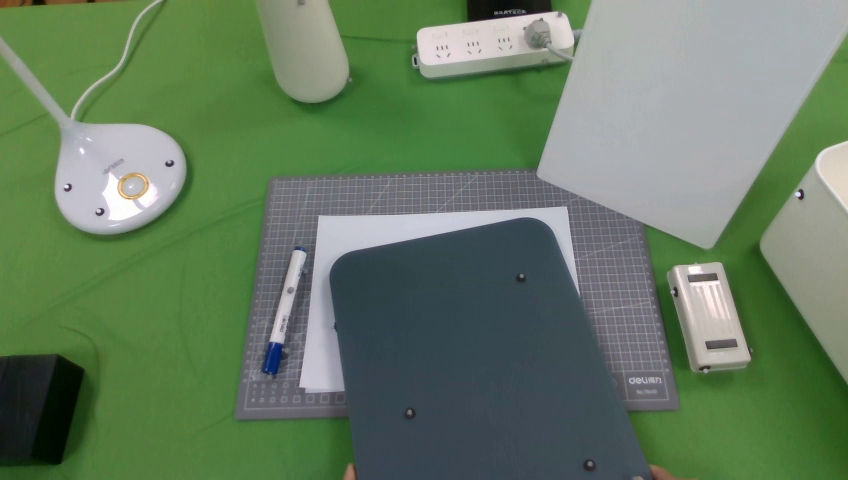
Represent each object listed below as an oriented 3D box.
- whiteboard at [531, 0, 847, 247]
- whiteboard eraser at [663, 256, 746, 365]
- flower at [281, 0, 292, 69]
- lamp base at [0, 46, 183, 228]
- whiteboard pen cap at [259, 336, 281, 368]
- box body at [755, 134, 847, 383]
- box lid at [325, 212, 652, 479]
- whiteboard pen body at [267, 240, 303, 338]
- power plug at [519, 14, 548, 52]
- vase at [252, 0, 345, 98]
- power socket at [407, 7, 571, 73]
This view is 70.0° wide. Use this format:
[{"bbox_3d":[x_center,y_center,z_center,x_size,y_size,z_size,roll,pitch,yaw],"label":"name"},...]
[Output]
[{"bbox_3d":[0.277,-0.182,0.652,0.216,0.308,0.143,27,46,16],"label":"whiteboard"},{"bbox_3d":[0.290,0.073,0.632,0.055,0.042,0.111,-4,62,0],"label":"whiteboard eraser"},{"bbox_3d":[-0.144,-0.300,0.666,0.038,0.362,0.044,46,63,4],"label":"flower"},{"bbox_3d":[-0.396,-0.127,0.691,0.178,0.182,0.160,28,67,20],"label":"lamp base"},{"bbox_3d":[-0.162,0.118,0.641,0.018,0.018,0.033,5,65,6],"label":"whiteboard pen cap"},{"bbox_3d":[0.525,0.064,0.557,0.254,0.161,0.360,-18,63,-7],"label":"box body"},{"bbox_3d":[0.051,0.136,0.606,0.263,0.015,0.367,-11,58,-6],"label":"box lid"},{"bbox_3d":[-0.155,0.065,0.665,0.017,0.017,0.140,6,65,6],"label":"whiteboard pen body"},{"bbox_3d":[0.142,-0.263,0.794,0.035,0.053,0.072,3,69,4],"label":"power plug"},{"bbox_3d":[-0.160,-0.269,0.743,0.098,0.201,0.097,-2,62,4],"label":"vase"},{"bbox_3d":[0.090,-0.273,0.827,0.227,0.033,0.071,-6,63,-1],"label":"power socket"}]
